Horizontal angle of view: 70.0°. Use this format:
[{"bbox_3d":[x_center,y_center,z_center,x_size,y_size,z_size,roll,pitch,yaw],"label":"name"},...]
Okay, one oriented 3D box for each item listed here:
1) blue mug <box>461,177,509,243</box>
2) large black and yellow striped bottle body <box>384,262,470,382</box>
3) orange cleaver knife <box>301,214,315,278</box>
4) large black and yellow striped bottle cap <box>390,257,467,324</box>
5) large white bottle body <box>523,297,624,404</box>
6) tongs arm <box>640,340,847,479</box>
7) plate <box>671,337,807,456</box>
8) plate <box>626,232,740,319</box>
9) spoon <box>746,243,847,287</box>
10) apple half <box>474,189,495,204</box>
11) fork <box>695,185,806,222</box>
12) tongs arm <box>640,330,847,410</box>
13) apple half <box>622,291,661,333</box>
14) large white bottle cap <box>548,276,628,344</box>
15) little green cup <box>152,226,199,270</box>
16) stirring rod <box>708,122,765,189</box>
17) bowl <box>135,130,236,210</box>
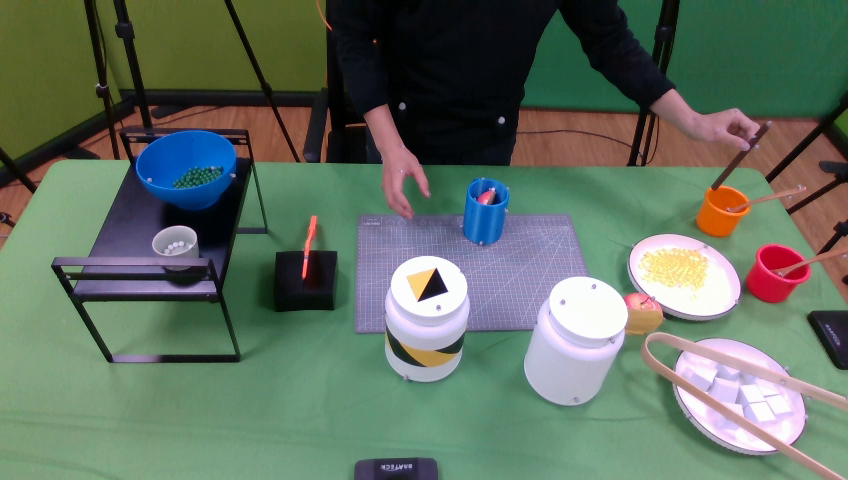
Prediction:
[{"bbox_3d":[0.114,-0.070,1.211,0.082,0.106,0.115,-12,48,-15],"label":"blue mug"},{"bbox_3d":[0.002,0.127,0.962,0.131,0.185,0.130,2,48,-2],"label":"large black and yellow striped bottle body"},{"bbox_3d":[-0.218,0.007,1.131,0.012,0.077,0.210,7,19,-9],"label":"orange cleaver knife"},{"bbox_3d":[0.007,0.072,0.898,0.115,0.019,0.114,2,47,-2],"label":"large black and yellow striped bottle cap"},{"bbox_3d":[0.235,0.159,0.952,0.131,0.185,0.130,2,47,-2],"label":"large white bottle body"},{"bbox_3d":[0.500,0.277,0.919,0.386,0.028,0.028,34,59,22],"label":"tongs arm"},{"bbox_3d":[0.504,0.254,0.984,0.208,0.039,0.206,2,46,-2],"label":"plate"},{"bbox_3d":[0.488,0.071,1.157,0.209,0.038,0.208,3,46,-3],"label":"plate"},{"bbox_3d":[0.702,0.043,1.126,0.194,0.022,0.041,-29,38,30],"label":"spoon"},{"bbox_3d":[0.109,-0.067,1.200,0.033,0.081,0.081,27,50,11],"label":"apple half"},{"bbox_3d":[0.658,-0.074,1.229,0.207,0.019,0.028,-24,34,37],"label":"fork"},{"bbox_3d":[0.543,0.225,0.969,0.384,0.026,0.050,22,52,13],"label":"tongs arm"},{"bbox_3d":[0.372,0.123,1.074,0.081,0.075,0.053,0,42,1],"label":"apple half"},{"bbox_3d":[0.240,0.100,0.890,0.115,0.018,0.114,3,47,-3],"label":"large white bottle cap"},{"bbox_3d":[-0.364,0.013,0.894,0.061,0.039,0.061,3,46,-3],"label":"little green cup"},{"bbox_3d":[0.595,-0.158,1.160,0.006,0.177,0.014,-12,57,-21],"label":"stirring rod"},{"bbox_3d":[-0.375,-0.102,0.978,0.151,0.077,0.150,2,46,-2],"label":"bowl"}]
